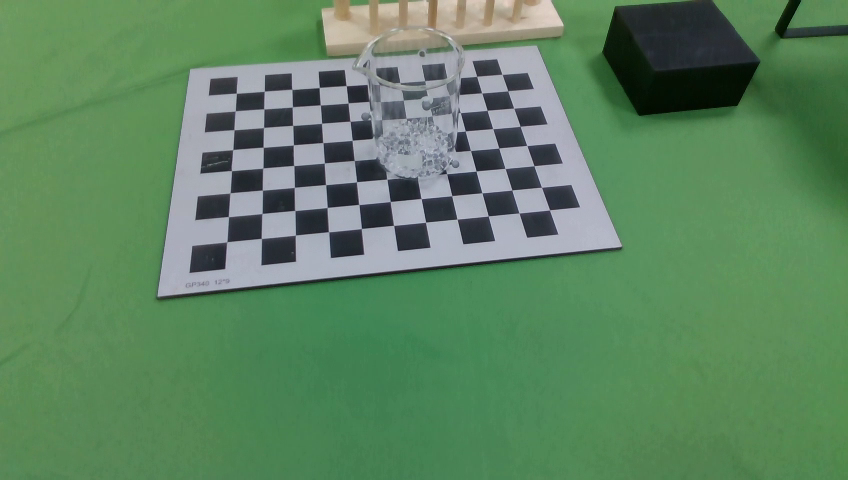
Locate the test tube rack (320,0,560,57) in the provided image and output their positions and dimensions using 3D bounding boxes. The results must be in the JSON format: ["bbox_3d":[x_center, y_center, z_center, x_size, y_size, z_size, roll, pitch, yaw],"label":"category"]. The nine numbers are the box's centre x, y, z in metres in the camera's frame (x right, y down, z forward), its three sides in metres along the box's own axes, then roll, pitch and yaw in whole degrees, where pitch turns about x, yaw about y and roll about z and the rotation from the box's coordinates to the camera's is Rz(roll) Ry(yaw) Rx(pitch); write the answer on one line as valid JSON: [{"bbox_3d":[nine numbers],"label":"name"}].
[{"bbox_3d":[0.017,-0.248,0.603,0.243,0.086,0.066,-7,53,-7],"label":"test tube rack"}]

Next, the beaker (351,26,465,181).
[{"bbox_3d":[-0.011,-0.103,0.477,0.084,0.101,0.073,-6,52,-5],"label":"beaker"}]

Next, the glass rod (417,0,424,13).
[{"bbox_3d":[0.007,-0.307,0.564,0.008,0.201,0.008,5,47,-5],"label":"glass rod"}]
